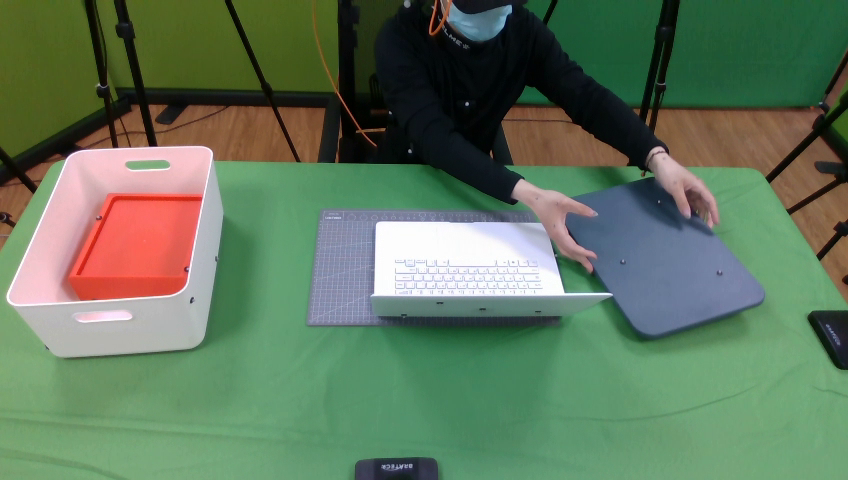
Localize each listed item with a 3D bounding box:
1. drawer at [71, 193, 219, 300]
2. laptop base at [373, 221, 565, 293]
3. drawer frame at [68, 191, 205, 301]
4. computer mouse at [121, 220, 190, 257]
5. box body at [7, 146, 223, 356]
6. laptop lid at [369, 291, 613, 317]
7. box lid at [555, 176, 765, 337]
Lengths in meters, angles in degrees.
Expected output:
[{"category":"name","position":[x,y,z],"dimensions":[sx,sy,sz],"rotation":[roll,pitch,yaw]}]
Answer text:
[{"category":"drawer","position":[-0.496,0.008,1.102],"dimensions":[0.194,0.073,0.210],"rotation":[0,47,-3]},{"category":"laptop base","position":[0.080,0.049,1.159],"dimensions":[0.355,0.023,0.234],"rotation":[0,43,-4]},{"category":"drawer frame","position":[-0.495,0.009,1.101],"dimensions":[0.202,0.083,0.212],"rotation":[0,47,-4]},{"category":"computer mouse","position":[-0.510,-0.004,1.152],"dimensions":[0.117,0.041,0.062],"rotation":[12,42,-3]},{"category":"box body","position":[-0.499,0.012,1.051],"dimensions":[0.254,0.161,0.361],"rotation":[-3,47,-7]},{"category":"laptop lid","position":[0.092,0.104,0.965],"dimensions":[0.357,0.242,0.013],"rotation":[0,76,-5]},{"category":"box lid","position":[0.443,0.013,1.182],"dimensions":[0.263,0.015,0.369],"rotation":[-15,48,-9]}]
